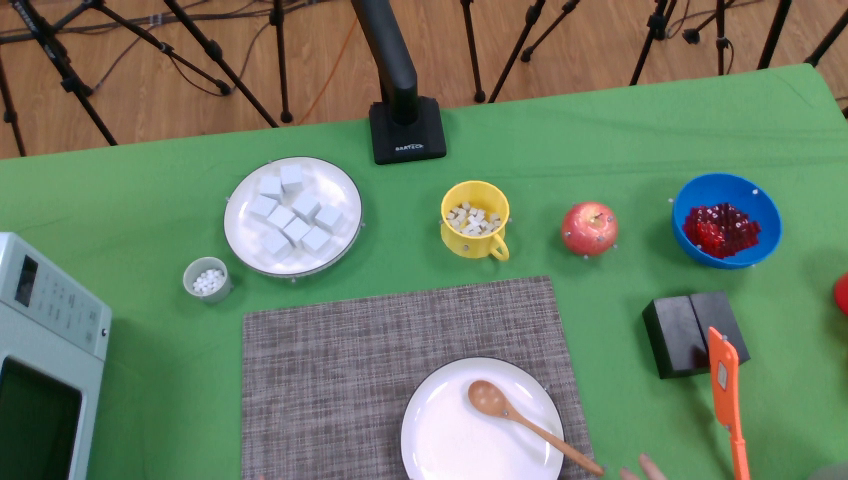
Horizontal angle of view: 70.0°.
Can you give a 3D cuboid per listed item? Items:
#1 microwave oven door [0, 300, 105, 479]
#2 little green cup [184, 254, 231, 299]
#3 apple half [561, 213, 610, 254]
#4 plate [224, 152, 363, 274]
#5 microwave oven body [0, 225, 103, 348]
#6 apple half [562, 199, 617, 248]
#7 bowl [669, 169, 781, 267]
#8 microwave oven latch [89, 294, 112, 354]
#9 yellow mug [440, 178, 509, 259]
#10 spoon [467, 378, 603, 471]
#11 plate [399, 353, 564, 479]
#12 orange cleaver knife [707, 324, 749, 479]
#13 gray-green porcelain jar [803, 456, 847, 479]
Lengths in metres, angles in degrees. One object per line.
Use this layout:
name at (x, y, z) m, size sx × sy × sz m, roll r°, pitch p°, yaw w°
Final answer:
microwave oven door at (-0.439, 0.265, 0.643) m, size 0.039 × 0.245 × 0.352 m, roll -4°, pitch 63°, yaw -1°
little green cup at (-0.310, 0.056, 0.877) m, size 0.061 × 0.039 × 0.061 m, roll 0°, pitch 64°, yaw 0°
apple half at (0.227, 0.000, 0.881) m, size 0.081 × 0.082 × 0.032 m, roll 32°, pitch 65°, yaw 16°
plate at (-0.195, -0.040, 0.926) m, size 0.208 × 0.039 × 0.206 m, roll 0°, pitch 64°, yaw 1°
microwave oven body at (-0.588, 0.239, 0.662) m, size 0.326 × 0.262 × 0.438 m, roll -4°, pitch 64°, yaw -2°
apple half at (0.249, -0.028, 0.896) m, size 0.080 × 0.075 × 0.053 m, roll 30°, pitch 65°, yaw 18°
bowl at (0.426, -0.019, 0.886) m, size 0.151 × 0.077 × 0.150 m, roll 0°, pitch 64°, yaw 1°
microwave oven latch at (-0.450, 0.116, 0.830) m, size 0.030 × 0.030 × 0.078 m, roll -3°, pitch 64°, yaw -1°
yellow mug at (0.082, -0.023, 0.899) m, size 0.100 × 0.064 × 0.130 m, roll -33°, pitch 69°, yaw -15°
spoon at (0.137, 0.235, 0.767) m, size 0.192 × 0.022 × 0.041 m, roll 28°, pitch 59°, yaw 27°
plate at (0.072, 0.250, 0.775) m, size 0.209 × 0.038 × 0.207 m, roll 0°, pitch 64°, yaw 0°
orange cleaver knife at (0.382, 0.212, 0.765) m, size 0.012 × 0.077 × 0.211 m, roll -10°, pitch 96°, yaw 1°
gray-green porcelain jar at (0.511, 0.304, 0.698) m, size 0.106 × 0.127 × 0.105 m, roll 0°, pitch 63°, yaw 1°
